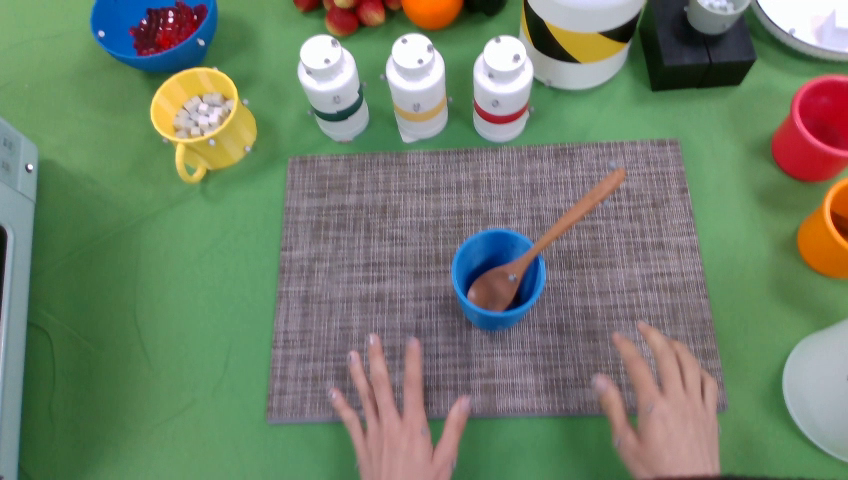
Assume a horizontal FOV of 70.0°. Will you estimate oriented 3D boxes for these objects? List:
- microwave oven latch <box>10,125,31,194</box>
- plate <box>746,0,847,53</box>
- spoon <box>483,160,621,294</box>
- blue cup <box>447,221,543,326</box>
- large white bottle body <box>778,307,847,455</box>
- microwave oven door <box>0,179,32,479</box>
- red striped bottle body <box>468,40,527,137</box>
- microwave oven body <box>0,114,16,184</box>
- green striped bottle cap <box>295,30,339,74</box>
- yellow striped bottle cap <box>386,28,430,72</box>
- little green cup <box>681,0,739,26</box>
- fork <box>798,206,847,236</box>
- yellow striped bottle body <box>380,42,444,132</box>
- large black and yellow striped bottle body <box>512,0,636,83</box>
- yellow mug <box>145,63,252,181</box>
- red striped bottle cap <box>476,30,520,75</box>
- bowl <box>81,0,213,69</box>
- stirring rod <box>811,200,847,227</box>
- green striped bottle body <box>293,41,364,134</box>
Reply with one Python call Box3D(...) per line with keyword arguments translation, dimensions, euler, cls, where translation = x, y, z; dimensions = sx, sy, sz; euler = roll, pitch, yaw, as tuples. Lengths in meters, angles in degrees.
Box3D(translation=(-0.471, -0.090, 0.693), dimensions=(0.030, 0.030, 0.078), euler=(-10, 69, 0), cls="microwave oven latch")
Box3D(translation=(0.484, -0.307, 0.728), dimensions=(0.209, 0.038, 0.207), euler=(-1, 69, 4), cls="plate")
Box3D(translation=(0.102, 0.000, 0.539), dimensions=(0.194, 0.022, 0.041), euler=(-48, 62, 32), cls="spoon")
Box3D(translation=(0.065, 0.041, 0.585), dimensions=(0.092, 0.101, 0.092), euler=(-1, 67, 2), cls="blue cup")
Box3D(translation=(0.396, 0.107, 0.496), dimensions=(0.130, 0.186, 0.129), euler=(-2, 68, 4), cls="large white bottle body")
Box3D(translation=(-0.441, 0.073, 0.520), dimensions=(0.039, 0.245, 0.353), euler=(-12, 68, 0), cls="microwave oven door")
Box3D(translation=(0.081, -0.170, 0.661), dimensions=(0.063, 0.120, 0.062), euler=(-3, 66, 8), cls="red striped bottle body")
Box3D(translation=(-0.591, 0.065, 0.539), dimensions=(0.326, 0.262, 0.438), euler=(-11, 69, -1), cls="microwave oven body")
Box3D(translation=(-0.111, -0.195, 0.628), dimensions=(0.044, 0.020, 0.044), euler=(-1, 68, 3), cls="green striped bottle cap")
Box3D(translation=(-0.017, -0.195, 0.621), dimensions=(0.044, 0.019, 0.044), euler=(-1, 70, 3), cls="yellow striped bottle cap")
Box3D(translation=(0.317, -0.270, 0.672), dimensions=(0.061, 0.039, 0.061), euler=(-1, 67, 2), cls="little green cup")
Box3D(translation=(0.448, -0.003, 0.554), dimensions=(0.028, 0.019, 0.205), euler=(-37, 26, -15), cls="fork")
Box3D(translation=(-0.012, -0.176, 0.669), dimensions=(0.063, 0.121, 0.062), euler=(-2, 68, 5), cls="yellow striped bottle body")
Box3D(translation=(0.166, -0.276, 0.661), dimensions=(0.131, 0.185, 0.130), euler=(-1, 69, 4), cls="large black and yellow striped bottle body")
Box3D(translation=(-0.262, -0.130, 0.698), dimensions=(0.100, 0.064, 0.130), euler=(7, 70, 6), cls="yellow mug")
Box3D(translation=(0.075, -0.190, 0.612), dimensions=(0.044, 0.018, 0.044), euler=(0, 67, 0), cls="red striped bottle cap")
Box3D(translation=(-0.325, -0.267, 0.749), dimensions=(0.151, 0.077, 0.150), euler=(-1, 69, 3), cls="bowl")
Box3D(translation=(0.420, -0.003, 0.561), dimensions=(0.014, 0.006, 0.174), euler=(-10, 26, 0), cls="stirring rod")
Box3D(translation=(-0.107, -0.176, 0.676), dimensions=(0.063, 0.120, 0.062), euler=(-1, 68, 4), cls="green striped bottle body")
